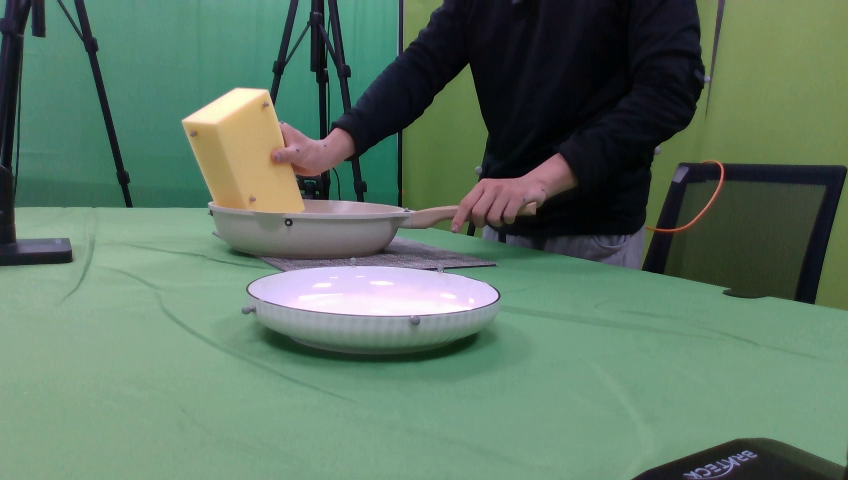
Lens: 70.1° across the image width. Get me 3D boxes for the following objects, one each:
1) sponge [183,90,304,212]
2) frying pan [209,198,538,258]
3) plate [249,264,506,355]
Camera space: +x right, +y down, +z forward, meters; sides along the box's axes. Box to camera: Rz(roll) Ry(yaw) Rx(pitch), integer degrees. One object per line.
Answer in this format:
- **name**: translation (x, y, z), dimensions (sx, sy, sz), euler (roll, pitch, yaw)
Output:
- **sponge**: translation (-0.259, -0.105, 0.898), dimensions (0.060, 0.207, 0.118), euler (8, 39, 24)
- **frying pan**: translation (-0.076, -0.034, 0.912), dimensions (0.487, 0.102, 0.307), euler (-5, 7, 12)
- **plate**: translation (-0.037, 0.056, 0.504), dimensions (0.208, 0.039, 0.207), euler (2, 7, 0)
